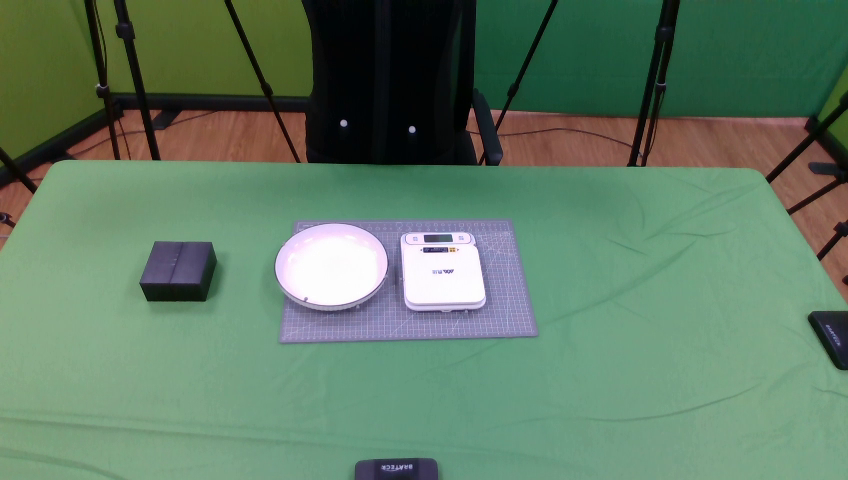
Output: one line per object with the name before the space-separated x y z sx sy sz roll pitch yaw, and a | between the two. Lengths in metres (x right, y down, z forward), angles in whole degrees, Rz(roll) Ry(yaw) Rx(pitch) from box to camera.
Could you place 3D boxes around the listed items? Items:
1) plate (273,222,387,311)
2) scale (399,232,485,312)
plate | -0.172 0.051 1.120 0.209 0.038 0.208 2 46 -2
scale | 0.031 0.050 1.141 0.149 0.032 0.199 -1 46 -5
